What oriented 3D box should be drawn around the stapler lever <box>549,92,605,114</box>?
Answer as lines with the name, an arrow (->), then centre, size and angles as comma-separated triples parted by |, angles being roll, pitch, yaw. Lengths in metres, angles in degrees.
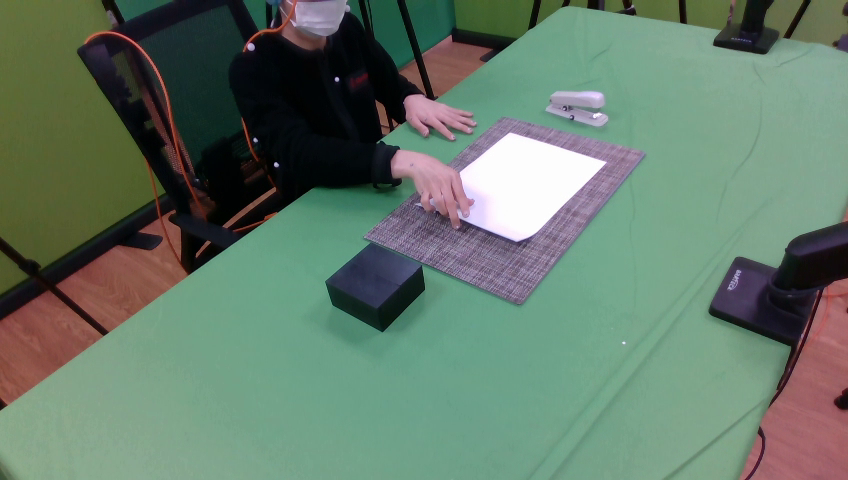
stapler lever -> 0.309, -0.285, 1.220 | 0.117, 0.040, 0.027 | 26, 49, 36

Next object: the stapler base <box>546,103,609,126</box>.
stapler base -> 0.314, -0.265, 1.235 | 0.129, 0.024, 0.041 | 26, 49, 35
